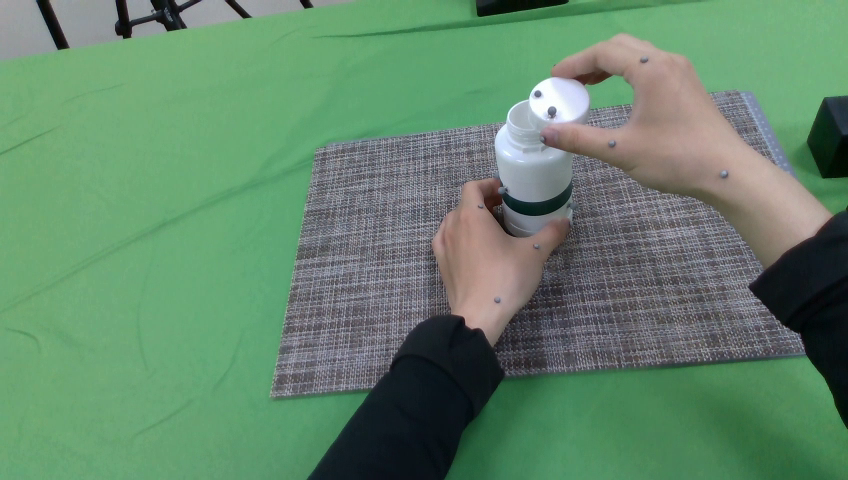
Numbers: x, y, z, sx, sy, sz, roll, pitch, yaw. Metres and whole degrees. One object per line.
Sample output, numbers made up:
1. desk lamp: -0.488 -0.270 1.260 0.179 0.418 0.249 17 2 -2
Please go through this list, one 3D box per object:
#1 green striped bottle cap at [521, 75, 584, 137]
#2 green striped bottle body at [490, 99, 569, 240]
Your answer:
1. green striped bottle cap: 0.094 -0.098 0.439 0.044 0.020 0.044 -1 62 2
2. green striped bottle body: 0.090 -0.060 0.510 0.063 0.120 0.062 -6 49 8
